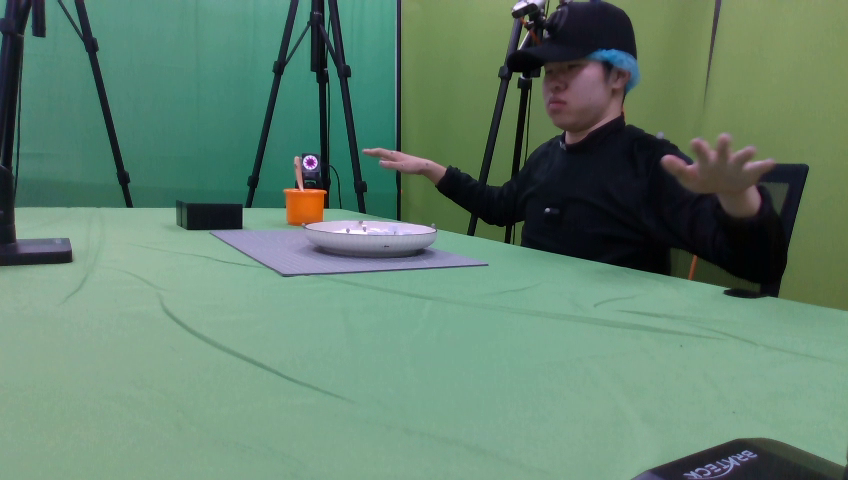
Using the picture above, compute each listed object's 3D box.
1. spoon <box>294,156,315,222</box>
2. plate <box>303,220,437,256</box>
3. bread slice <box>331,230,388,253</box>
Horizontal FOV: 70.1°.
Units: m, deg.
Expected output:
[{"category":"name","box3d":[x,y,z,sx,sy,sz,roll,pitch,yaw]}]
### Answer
[{"category":"spoon","box3d":[-0.271,-0.116,1.328,0.042,0.021,0.193,-2,48,-21]},{"category":"plate","box3d":[-0.084,-0.003,0.951,0.209,0.038,0.209,3,7,0]},{"category":"bread slice","box3d":[-0.088,0.000,0.947,0.105,0.019,0.131,-4,11,-44]}]
